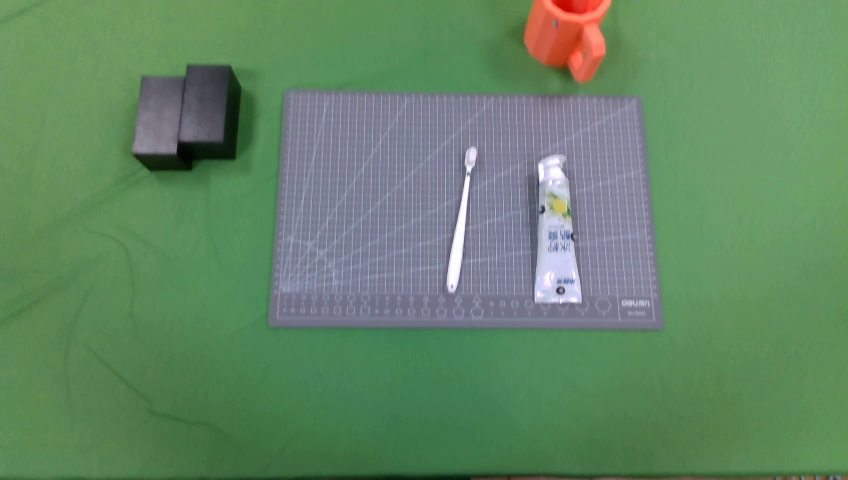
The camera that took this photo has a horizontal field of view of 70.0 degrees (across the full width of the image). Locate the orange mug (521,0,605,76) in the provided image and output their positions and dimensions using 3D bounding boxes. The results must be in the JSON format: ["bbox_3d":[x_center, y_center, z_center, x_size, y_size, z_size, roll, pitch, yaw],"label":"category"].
[{"bbox_3d":[0.178,-0.270,0.741,0.083,0.101,0.125,-20,72,-7],"label":"orange mug"}]

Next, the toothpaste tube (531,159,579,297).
[{"bbox_3d":[0.149,-0.016,0.708,0.055,0.034,0.164,-2,79,5],"label":"toothpaste tube"}]

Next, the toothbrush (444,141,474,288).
[{"bbox_3d":[0.042,-0.033,0.713,0.014,0.016,0.181,12,76,-14],"label":"toothbrush"}]

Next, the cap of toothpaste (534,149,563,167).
[{"bbox_3d":[0.149,-0.097,0.723,0.037,0.037,0.011,-12,73,-6],"label":"cap of toothpaste"}]
